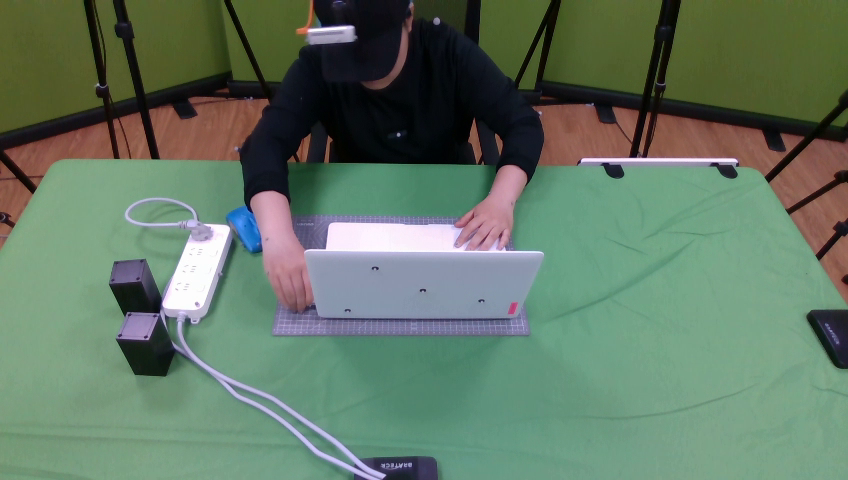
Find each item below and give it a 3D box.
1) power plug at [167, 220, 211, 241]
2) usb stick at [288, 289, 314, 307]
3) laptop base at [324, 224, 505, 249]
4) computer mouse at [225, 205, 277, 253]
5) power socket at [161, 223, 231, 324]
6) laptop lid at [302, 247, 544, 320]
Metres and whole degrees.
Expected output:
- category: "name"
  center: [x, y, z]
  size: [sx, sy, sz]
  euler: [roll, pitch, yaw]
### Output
- category: "power plug"
  center: [-0.439, -0.016, 1.143]
  size: [0.072, 0.053, 0.035]
  euler: [10, 43, 5]
- category: "usb stick"
  center: [-0.208, 0.102, 1.068]
  size: [0.059, 0.027, 0.021]
  euler: [3, 42, -4]
- category: "laptop base"
  center: [-0.015, 0.055, 1.145]
  size: [0.355, 0.023, 0.234]
  euler: [1, 42, -4]
- category: "computer mouse"
  center: [-0.340, -0.025, 1.186]
  size: [0.063, 0.041, 0.116]
  euler: [-25, 56, -29]
- category: "power socket"
  center: [-0.412, 0.052, 1.106]
  size: [0.072, 0.033, 0.225]
  euler: [4, 46, -2]
- category: "laptop lid"
  center: [-0.005, 0.076, 0.963]
  size: [0.357, 0.243, 0.013]
  euler: [1, 58, -5]
